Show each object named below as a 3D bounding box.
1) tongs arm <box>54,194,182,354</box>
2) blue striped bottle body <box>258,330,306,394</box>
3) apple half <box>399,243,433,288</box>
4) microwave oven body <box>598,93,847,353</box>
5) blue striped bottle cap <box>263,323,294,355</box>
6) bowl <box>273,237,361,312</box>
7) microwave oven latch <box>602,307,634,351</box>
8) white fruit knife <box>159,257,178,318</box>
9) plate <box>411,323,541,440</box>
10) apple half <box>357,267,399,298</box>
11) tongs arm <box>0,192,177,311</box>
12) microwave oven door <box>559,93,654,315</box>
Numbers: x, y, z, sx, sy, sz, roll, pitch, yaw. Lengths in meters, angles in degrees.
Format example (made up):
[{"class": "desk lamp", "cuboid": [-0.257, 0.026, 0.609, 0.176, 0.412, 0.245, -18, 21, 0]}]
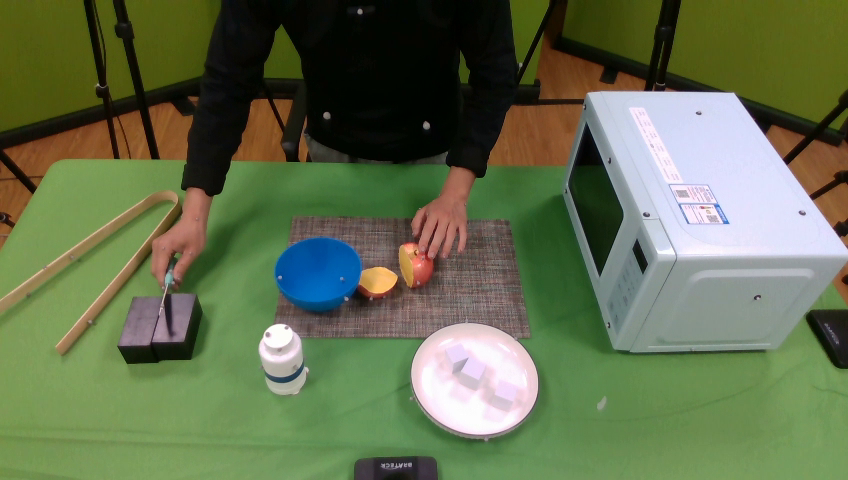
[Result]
[{"class": "tongs arm", "cuboid": [-0.543, 0.048, 1.107, 0.028, 0.028, 0.385, 11, 45, 10]}, {"class": "blue striped bottle body", "cuboid": [-0.220, 0.182, 0.937, 0.063, 0.121, 0.062, 2, 45, -2]}, {"class": "apple half", "cuboid": [-0.011, 0.047, 1.116, 0.053, 0.075, 0.080, -10, 43, -18]}, {"class": "microwave oven body", "cuboid": [0.475, -0.041, 1.109, 0.326, 0.261, 0.438, -1, 45, -4]}, {"class": "blue striped bottle cap", "cuboid": [-0.217, 0.146, 0.900, 0.044, 0.021, 0.044, 1, 46, -1]}, {"class": "bowl", "cuboid": [-0.186, 0.074, 1.069, 0.151, 0.077, 0.150, 3, 45, -3]}, {"class": "microwave oven latch", "cuboid": [0.332, 0.153, 1.044, 0.030, 0.029, 0.078, -1, 45, -4]}, {"class": "white fruit knife", "cuboid": [-0.437, 0.077, 1.035, 0.016, 0.027, 0.206, 12, 20, -21]}, {"class": "plate", "cuboid": [0.082, 0.228, 0.976, 0.208, 0.039, 0.206, 2, 45, -2]}, {"class": "apple half", "cuboid": [-0.082, 0.082, 1.099, 0.081, 0.033, 0.081, 0, 33, 0]}, {"class": "tongs arm", "cuboid": [-0.618, 0.019, 1.123, 0.050, 0.026, 0.384, 23, 47, 17]}, {"class": "microwave oven door", "cuboid": [0.327, -0.074, 1.123, 0.039, 0.245, 0.353, -1, 46, -5]}]
